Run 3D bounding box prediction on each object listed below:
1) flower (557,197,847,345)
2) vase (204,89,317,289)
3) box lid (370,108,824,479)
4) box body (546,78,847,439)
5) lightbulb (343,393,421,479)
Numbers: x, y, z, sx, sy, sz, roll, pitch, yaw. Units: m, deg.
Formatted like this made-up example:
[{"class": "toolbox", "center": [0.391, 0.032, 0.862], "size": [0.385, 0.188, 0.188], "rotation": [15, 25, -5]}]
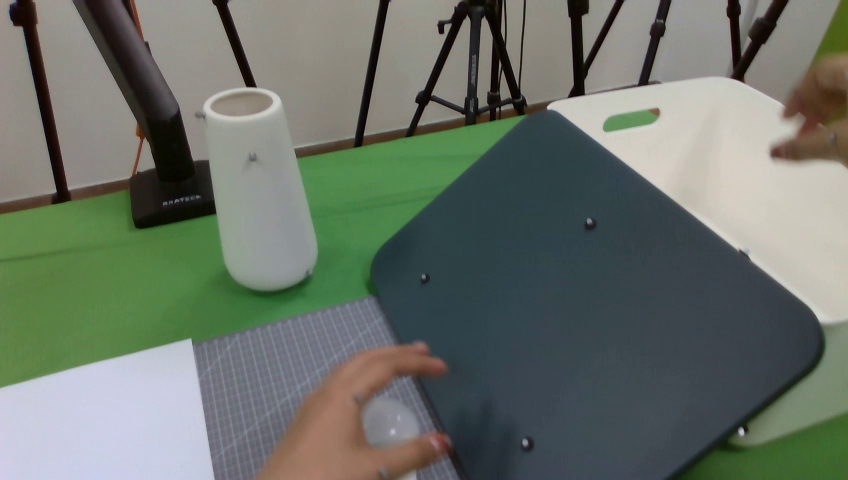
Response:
[{"class": "flower", "center": [0.308, 0.040, 0.653], "size": [0.359, 0.038, 0.044], "rotation": [30, 39, 26]}, {"class": "vase", "center": [-0.166, -0.047, 0.614], "size": [0.098, 0.202, 0.097], "rotation": [-1, 37, 1]}, {"class": "box lid", "center": [0.099, 0.044, 0.522], "size": [0.263, 0.015, 0.367], "rotation": [-42, 42, 8]}, {"class": "box body", "center": [0.302, -0.008, 0.603], "size": [0.255, 0.162, 0.359], "rotation": [-13, 39, -16]}, {"class": "lightbulb", "center": [-0.026, 0.167, 0.454], "size": [0.060, 0.060, 0.106], "rotation": [-11, 54, -14]}]
